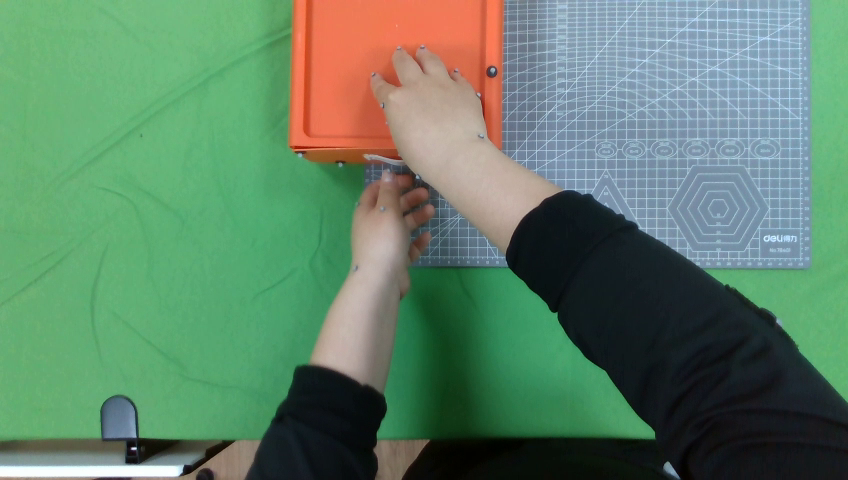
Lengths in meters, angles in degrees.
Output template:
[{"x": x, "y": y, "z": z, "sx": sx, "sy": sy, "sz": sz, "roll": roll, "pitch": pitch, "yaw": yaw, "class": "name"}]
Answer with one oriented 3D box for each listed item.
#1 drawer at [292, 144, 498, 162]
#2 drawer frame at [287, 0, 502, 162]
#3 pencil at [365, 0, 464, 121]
[{"x": -0.024, "y": -0.182, "z": 0.592, "sx": 0.194, "sy": 0.073, "sz": 0.211, "roll": 1, "pitch": 89, "yaw": 5, "class": "drawer"}, {"x": -0.026, "y": -0.188, "z": 0.592, "sx": 0.201, "sy": 0.083, "sz": 0.213, "roll": 0, "pitch": 89, "yaw": 5, "class": "drawer frame"}, {"x": -0.019, "y": -0.197, "z": 0.614, "sx": 0.012, "sy": 0.012, "sz": 0.194, "roll": -38, "pitch": 87, "yaw": 3, "class": "pencil"}]
